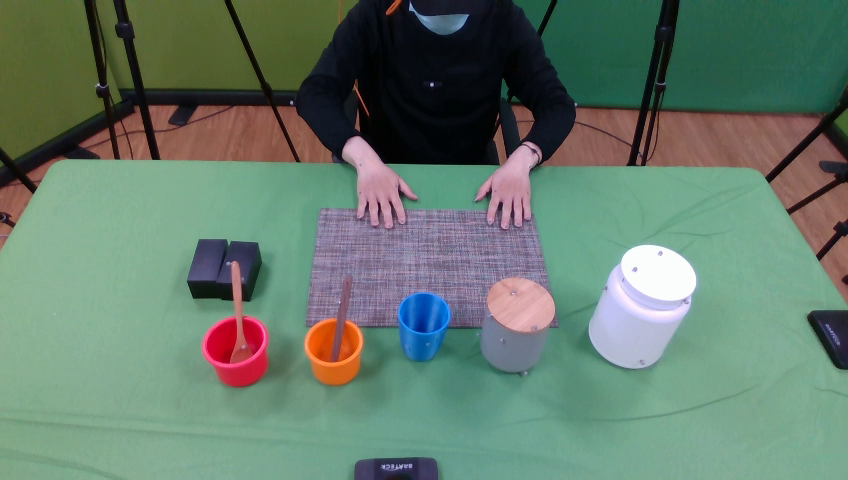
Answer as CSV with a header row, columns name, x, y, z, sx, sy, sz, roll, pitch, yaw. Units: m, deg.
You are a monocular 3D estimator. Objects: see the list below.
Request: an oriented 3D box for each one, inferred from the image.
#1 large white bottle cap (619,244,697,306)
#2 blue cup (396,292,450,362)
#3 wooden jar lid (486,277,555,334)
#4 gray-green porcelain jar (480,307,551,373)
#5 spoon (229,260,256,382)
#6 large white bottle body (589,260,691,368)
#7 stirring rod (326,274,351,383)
name,x,y,z,sx,sy,sz,roll,pitch,yaw
large white bottle cap,0.363,0.052,0.939,0.115,0.018,0.114,2,46,-2
blue cup,-0.005,0.149,0.997,0.093,0.101,0.092,3,47,-3
wooden jar lid,0.150,0.105,0.948,0.108,0.021,0.107,3,47,-3
gray-green porcelain jar,0.148,0.148,0.992,0.106,0.127,0.105,2,46,-2
spoon,-0.294,0.129,0.966,0.042,0.021,0.193,-4,91,-9
large white bottle body,0.358,0.110,1.001,0.131,0.185,0.130,2,46,-2
stirring rod,-0.137,0.142,0.971,0.014,0.006,0.176,9,89,0
